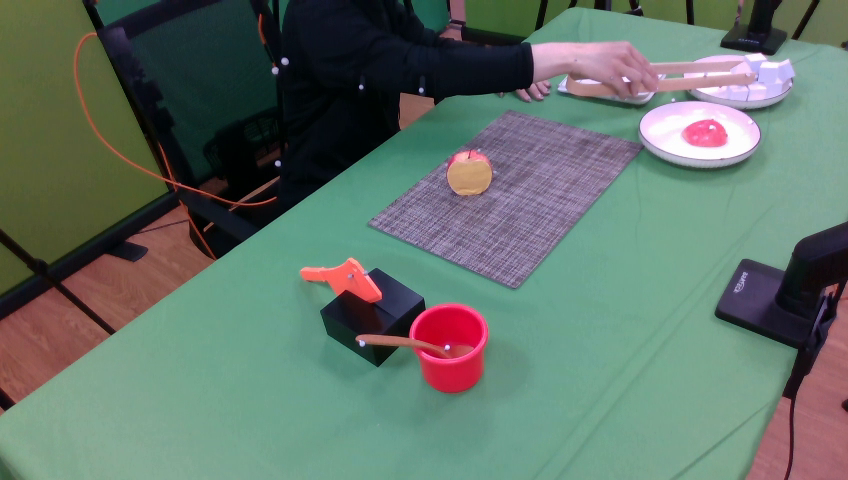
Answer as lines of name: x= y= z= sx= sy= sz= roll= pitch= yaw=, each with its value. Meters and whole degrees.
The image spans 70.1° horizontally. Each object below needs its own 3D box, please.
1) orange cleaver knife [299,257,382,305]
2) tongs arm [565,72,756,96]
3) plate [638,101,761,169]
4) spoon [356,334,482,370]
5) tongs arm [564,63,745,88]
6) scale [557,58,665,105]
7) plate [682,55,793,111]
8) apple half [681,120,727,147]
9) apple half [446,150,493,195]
orange cleaver knife: x=-0.124 y=0.062 z=0.872 sx=0.012 sy=0.077 sz=0.210 roll=-38 pitch=17 yaw=-30
tongs arm: x=0.456 y=-0.306 z=1.157 sx=0.386 sy=0.026 sz=0.050 roll=-9 pitch=48 yaw=-13
plate: x=0.500 y=-0.189 z=1.111 sx=0.209 sy=0.038 sz=0.208 roll=-4 pitch=41 yaw=4
spoon: x=-0.001 y=0.130 z=0.731 sx=0.195 sy=0.021 sz=0.041 roll=22 pitch=28 yaw=-39
tongs arm: x=0.451 y=-0.323 z=1.174 sx=0.389 sy=0.028 sz=0.028 roll=-6 pitch=51 yaw=-11
scale: x=0.407 y=-0.348 z=1.314 sx=0.199 sy=0.032 sz=0.149 roll=19 pitch=47 yaw=28
plate: x=0.636 y=-0.317 z=1.239 sx=0.207 sy=0.039 sz=0.206 roll=-4 pitch=40 yaw=4
apple half: x=0.518 y=-0.202 z=1.115 sx=0.081 sy=0.033 sz=0.081 roll=-1 pitch=40 yaw=2
apple half: x=0.081 y=-0.123 z=1.065 sx=0.081 sy=0.075 sz=0.053 roll=-7 pitch=37 yaw=7
